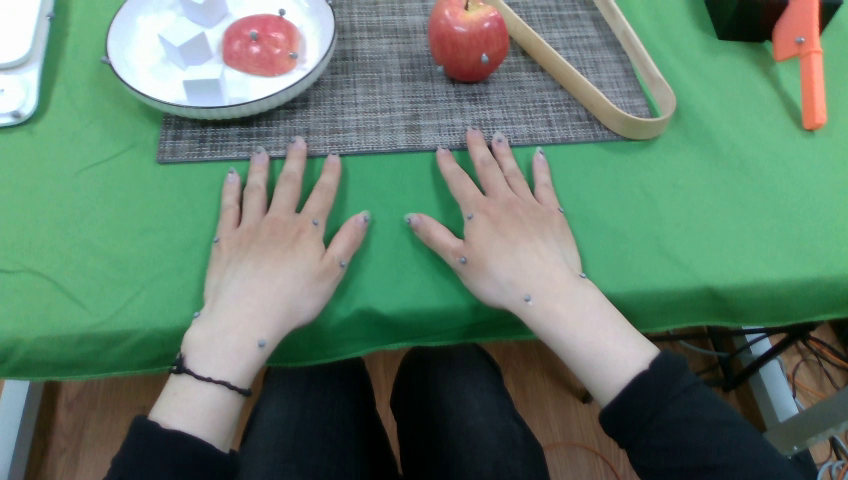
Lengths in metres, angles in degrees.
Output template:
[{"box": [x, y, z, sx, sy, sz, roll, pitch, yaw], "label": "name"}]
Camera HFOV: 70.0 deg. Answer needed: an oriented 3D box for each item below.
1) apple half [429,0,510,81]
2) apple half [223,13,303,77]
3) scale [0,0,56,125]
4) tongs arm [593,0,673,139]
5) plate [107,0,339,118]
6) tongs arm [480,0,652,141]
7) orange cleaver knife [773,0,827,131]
[{"box": [0.034, -0.185, 0.564, 0.053, 0.075, 0.080, -39, 71, -19], "label": "apple half"}, {"box": [-0.154, -0.193, 0.574, 0.081, 0.033, 0.080, 3, 58, -5], "label": "apple half"}, {"box": [-0.432, -0.184, 0.567, 0.149, 0.032, 0.199, -8, 59, -8], "label": "scale"}, {"box": [0.168, -0.261, 0.643, 0.051, 0.027, 0.381, -14, 61, -12], "label": "tongs arm"}, {"box": [-0.184, -0.188, 0.575, 0.209, 0.038, 0.207, 2, 58, -2], "label": "plate"}, {"box": [0.091, -0.234, 0.625, 0.028, 0.028, 0.384, -25, 63, -22], "label": "tongs arm"}, {"box": [0.369, -0.208, 0.594, 0.012, 0.077, 0.211, 2, 88, -6], "label": "orange cleaver knife"}]
